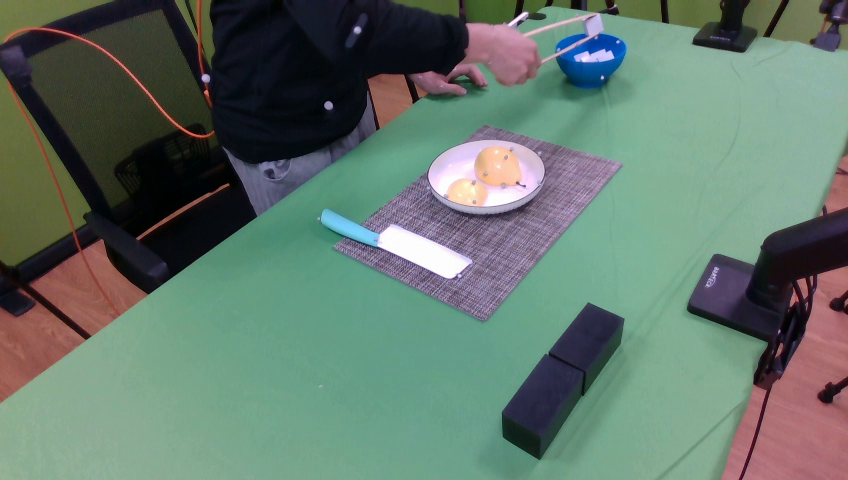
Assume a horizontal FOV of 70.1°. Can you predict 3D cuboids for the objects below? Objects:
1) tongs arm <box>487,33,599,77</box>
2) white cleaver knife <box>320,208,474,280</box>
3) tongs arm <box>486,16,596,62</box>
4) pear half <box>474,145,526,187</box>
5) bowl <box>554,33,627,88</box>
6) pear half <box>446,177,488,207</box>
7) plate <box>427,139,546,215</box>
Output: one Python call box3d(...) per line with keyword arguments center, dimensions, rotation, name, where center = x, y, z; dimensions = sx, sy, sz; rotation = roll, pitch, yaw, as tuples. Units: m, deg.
box3d(center=(0.240, -0.369, 1.156), dimensions=(0.026, 0.051, 0.386), rotation=(0, 27, 43), name="tongs arm")
box3d(center=(-0.053, 0.001, 0.978), dimensions=(0.284, 0.021, 0.066), rotation=(23, 40, 26), name="white cleaver knife")
box3d(center=(0.233, -0.392, 1.149), dimensions=(0.027, 0.028, 0.389), rotation=(5, 26, 41), name="tongs arm")
box3d(center=(0.140, -0.129, 1.059), dimensions=(0.076, 0.056, 0.109), rotation=(-37, 53, -24), name="pear half")
box3d(center=(0.359, -0.384, 1.318), dimensions=(0.151, 0.077, 0.150), rotation=(-4, 41, 4), name="bowl")
box3d(center=(0.073, -0.086, 1.032), dimensions=(0.070, 0.031, 0.087), rotation=(-21, 38, -9), name="pear half")
box3d(center=(0.109, -0.107, 1.058), dimensions=(0.207, 0.039, 0.206), rotation=(-4, 41, 4), name="plate")
